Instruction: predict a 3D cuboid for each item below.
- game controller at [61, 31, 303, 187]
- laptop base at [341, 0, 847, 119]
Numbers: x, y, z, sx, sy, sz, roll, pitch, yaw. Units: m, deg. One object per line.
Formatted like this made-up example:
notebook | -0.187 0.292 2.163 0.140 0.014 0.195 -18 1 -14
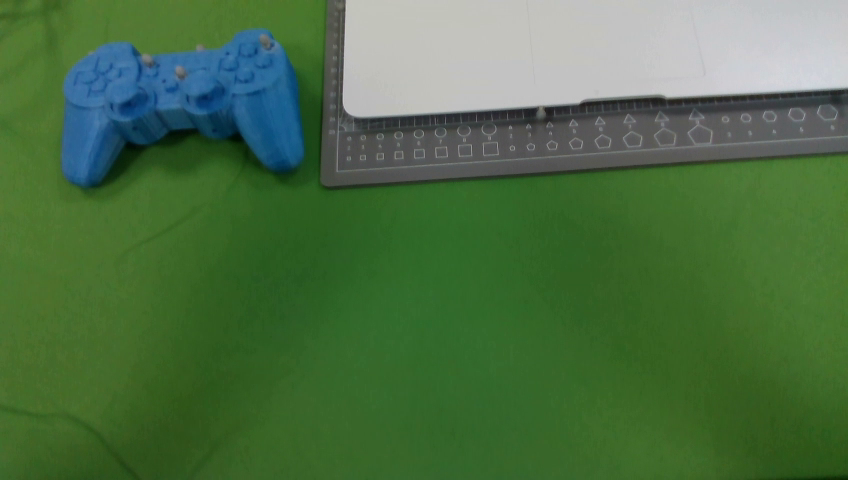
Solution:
game controller | -0.155 -0.089 0.388 0.155 0.052 0.096 -3 62 3
laptop base | 0.120 -0.191 0.424 0.354 0.023 0.234 -3 70 3
